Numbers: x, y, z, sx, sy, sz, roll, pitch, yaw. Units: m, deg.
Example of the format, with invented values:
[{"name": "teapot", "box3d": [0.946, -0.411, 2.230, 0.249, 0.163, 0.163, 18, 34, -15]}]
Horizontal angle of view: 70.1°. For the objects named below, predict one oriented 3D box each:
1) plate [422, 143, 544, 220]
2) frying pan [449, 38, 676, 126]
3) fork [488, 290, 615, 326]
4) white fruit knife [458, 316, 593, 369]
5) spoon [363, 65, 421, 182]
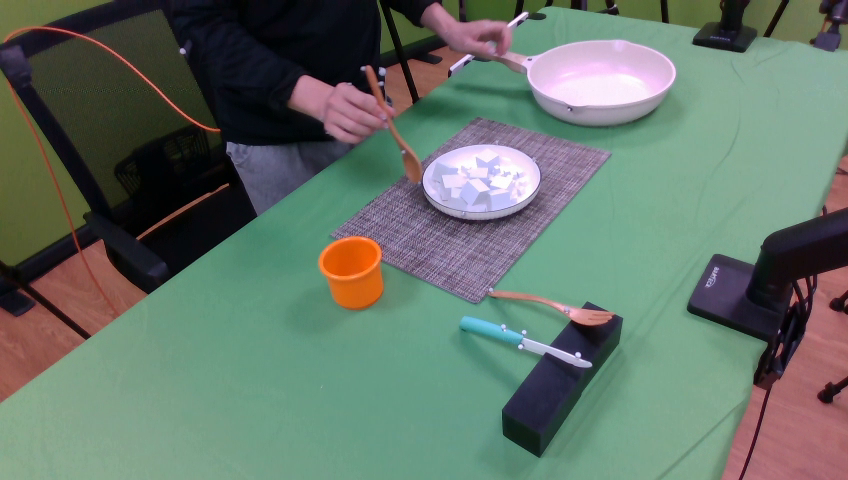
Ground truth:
[{"name": "plate", "box3d": [0.102, -0.097, 1.048, 0.207, 0.039, 0.206, -4, 40, 4]}, {"name": "frying pan", "box3d": [0.272, -0.363, 1.287, 0.485, 0.103, 0.307, 23, 48, 19]}, {"name": "fork", "box3d": [0.160, 0.086, 0.801, 0.205, 0.019, 0.028, 12, 46, 48]}, {"name": "white fruit knife", "box3d": [0.120, 0.127, 0.757, 0.205, 0.027, 0.016, 12, 44, 43]}, {"name": "spoon", "box3d": [-0.047, -0.169, 0.898, 0.022, 0.195, 0.041, -44, 37, -22]}]
